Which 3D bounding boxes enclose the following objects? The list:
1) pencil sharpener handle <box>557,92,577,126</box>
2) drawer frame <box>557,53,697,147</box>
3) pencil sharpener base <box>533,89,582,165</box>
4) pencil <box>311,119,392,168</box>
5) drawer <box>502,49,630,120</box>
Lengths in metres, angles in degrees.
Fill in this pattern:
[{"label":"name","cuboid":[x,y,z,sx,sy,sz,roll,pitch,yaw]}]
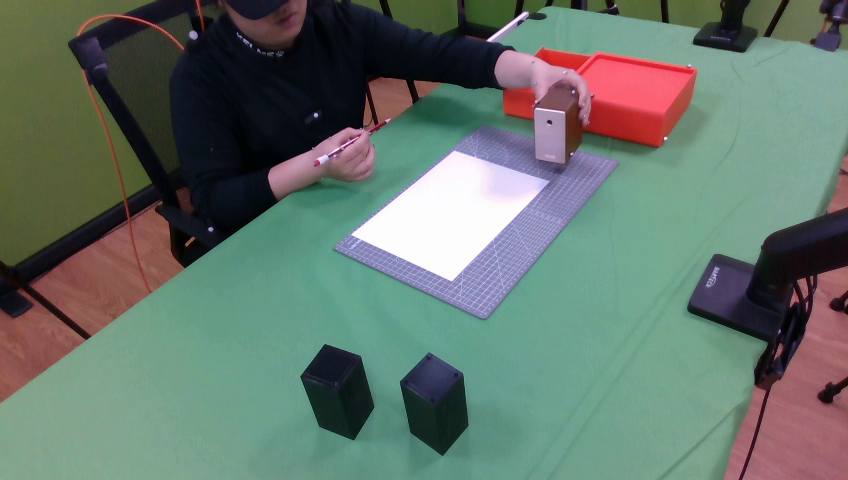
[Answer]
[{"label":"pencil sharpener handle","cuboid":[0.256,-0.235,1.063,0.036,0.068,0.031,18,47,27]},{"label":"drawer frame","cuboid":[0.396,-0.282,1.196,0.212,0.083,0.202,20,47,28]},{"label":"pencil sharpener base","cuboid":[0.232,-0.195,1.039,0.061,0.107,0.077,15,46,30]},{"label":"pencil","cuboid":[-0.123,-0.173,1.062,0.012,0.012,0.195,25,48,33]},{"label":"drawer","cuboid":[0.297,-0.314,1.251,0.210,0.073,0.195,19,46,28]}]
